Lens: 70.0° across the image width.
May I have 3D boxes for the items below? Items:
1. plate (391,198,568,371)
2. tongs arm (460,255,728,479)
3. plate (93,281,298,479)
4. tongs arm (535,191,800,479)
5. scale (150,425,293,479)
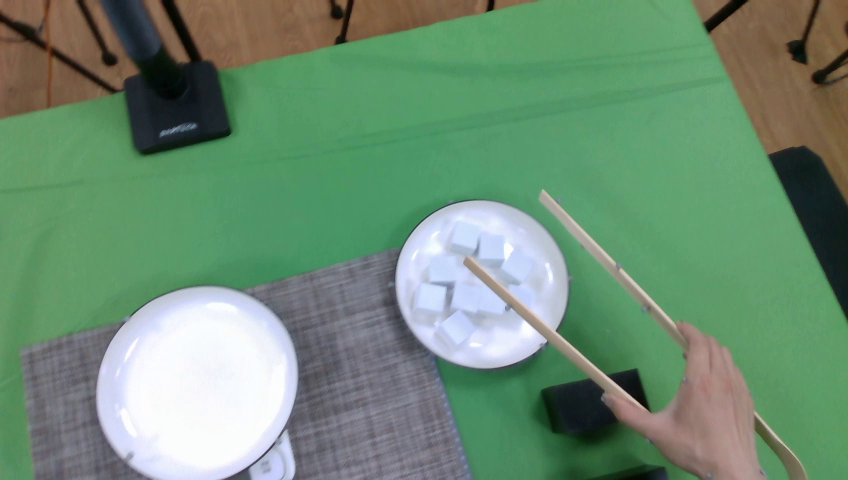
[{"bbox_3d":[0.065,0.053,0.724,0.208,0.039,0.206,1,73,-3],"label":"plate"},{"bbox_3d":[0.186,0.139,0.605,0.386,0.028,0.028,40,67,12],"label":"tongs arm"},{"bbox_3d":[-0.237,0.147,0.645,0.209,0.038,0.208,1,73,-3],"label":"plate"},{"bbox_3d":[0.234,0.099,0.623,0.051,0.027,0.382,-38,75,-17],"label":"tongs arm"},{"bbox_3d":[-0.236,0.185,0.668,0.149,0.032,0.199,-14,75,-7],"label":"scale"}]
